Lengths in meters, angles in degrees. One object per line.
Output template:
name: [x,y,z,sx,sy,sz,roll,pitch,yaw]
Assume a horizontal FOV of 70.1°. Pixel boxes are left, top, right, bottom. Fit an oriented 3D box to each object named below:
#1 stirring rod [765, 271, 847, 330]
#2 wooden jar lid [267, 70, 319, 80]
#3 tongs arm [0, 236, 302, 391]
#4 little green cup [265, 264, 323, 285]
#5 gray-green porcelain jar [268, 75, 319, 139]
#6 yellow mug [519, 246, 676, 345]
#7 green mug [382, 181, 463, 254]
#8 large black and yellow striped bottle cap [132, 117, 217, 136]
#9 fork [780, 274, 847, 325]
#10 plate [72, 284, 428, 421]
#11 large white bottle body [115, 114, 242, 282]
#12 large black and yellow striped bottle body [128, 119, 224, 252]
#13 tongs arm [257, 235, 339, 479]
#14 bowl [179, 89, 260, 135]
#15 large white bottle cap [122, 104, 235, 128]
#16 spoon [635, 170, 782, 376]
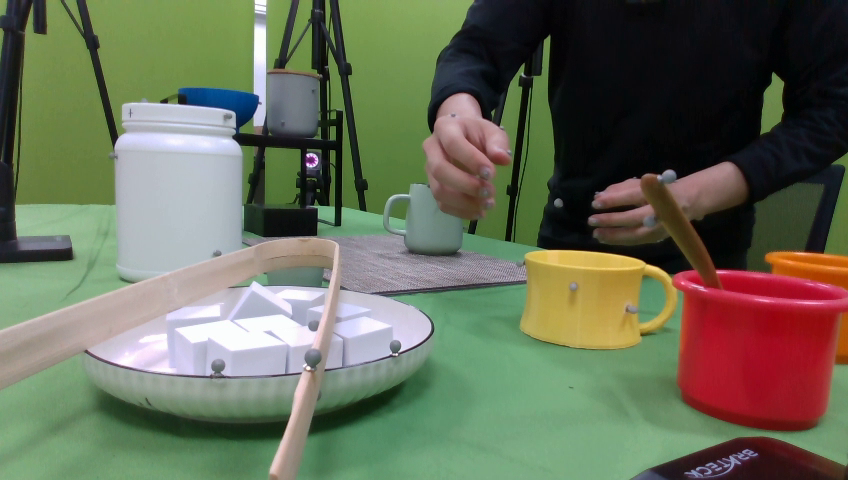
stirring rod: [0.352,0.020,0.481,0.176,0.006,0.014,-40,-7,17]
wooden jar lid: [-0.275,-0.339,1.271,0.108,0.020,0.108,5,6,0]
tongs arm: [-0.157,0.037,0.347,0.028,0.028,0.388,-2,8,11]
little green cup: [-0.134,0.033,0.628,0.061,0.038,0.061,3,7,0]
gray-green porcelain jar: [-0.277,-0.278,1.280,0.106,0.126,0.106,2,8,0]
yellow mug: [0.148,0.045,0.513,0.131,0.064,0.100,3,7,0]
green mug: [-0.001,-0.036,0.922,0.126,0.105,0.092,0,8,-16]
large black and yellow striped bottle cap: [-0.359,-0.164,0.875,0.115,0.019,0.115,2,6,0]
fork: [0.332,0.018,0.443,0.028,0.018,0.207,-3,-35,-16]
plate: [-0.102,0.067,0.381,0.208,0.039,0.207,3,7,0]
large white bottle body: [-0.270,-0.051,0.673,0.131,0.184,0.130,2,8,0]
large black and yellow striped bottle body: [-0.361,-0.081,0.887,0.131,0.184,0.130,2,8,0]
tongs arm: [-0.074,0.040,0.345,0.051,0.026,0.384,-1,10,-3]
bowl: [-0.400,-0.248,1.188,0.151,0.077,0.151,3,7,0]
large white bottle cap: [-0.266,-0.135,0.663,0.115,0.018,0.115,3,7,0]
spoon: [0.161,0.026,0.346,0.041,0.194,0.021,9,55,53]
